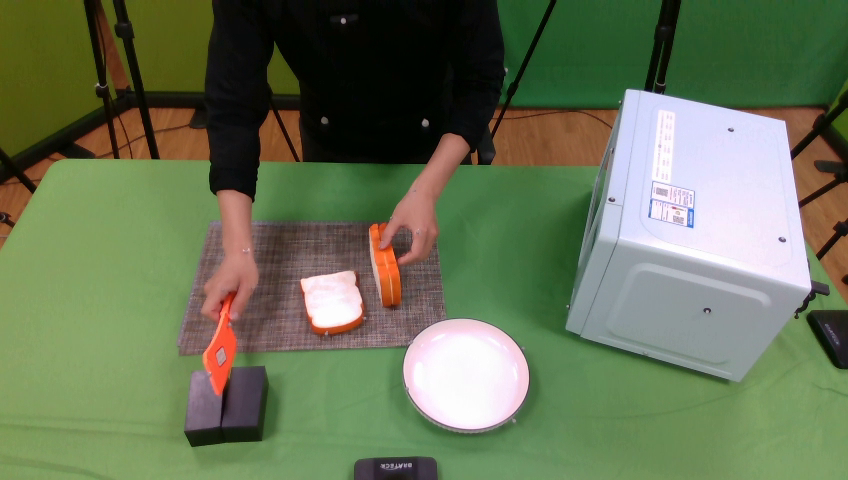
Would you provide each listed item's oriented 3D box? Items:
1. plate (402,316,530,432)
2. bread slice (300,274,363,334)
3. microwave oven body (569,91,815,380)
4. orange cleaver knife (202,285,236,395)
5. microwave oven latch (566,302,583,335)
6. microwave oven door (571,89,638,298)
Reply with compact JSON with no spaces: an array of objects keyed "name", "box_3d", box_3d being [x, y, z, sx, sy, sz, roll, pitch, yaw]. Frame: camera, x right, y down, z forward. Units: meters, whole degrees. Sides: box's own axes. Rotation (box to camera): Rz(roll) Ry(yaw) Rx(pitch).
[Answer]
[{"name":"plate","box_3d":[0.066,0.217,0.982,0.208,0.039,0.206,2,46,-2]},{"name":"bread slice","box_3d":[-0.164,0.113,1.076,0.107,0.018,0.133,-11,38,-7]},{"name":"microwave oven body","box_3d":[0.468,-0.022,1.082,0.325,0.261,0.440,15,46,11]},{"name":"orange cleaver knife","box_3d":[-0.314,0.151,0.954,0.012,0.077,0.210,-13,32,2]},{"name":"microwave oven latch","box_3d":[0.268,0.126,1.059,0.030,0.029,0.079,16,46,12]},{"name":"microwave oven door","box_3d":[0.343,-0.091,1.132,0.039,0.245,0.354,15,47,10]}]
